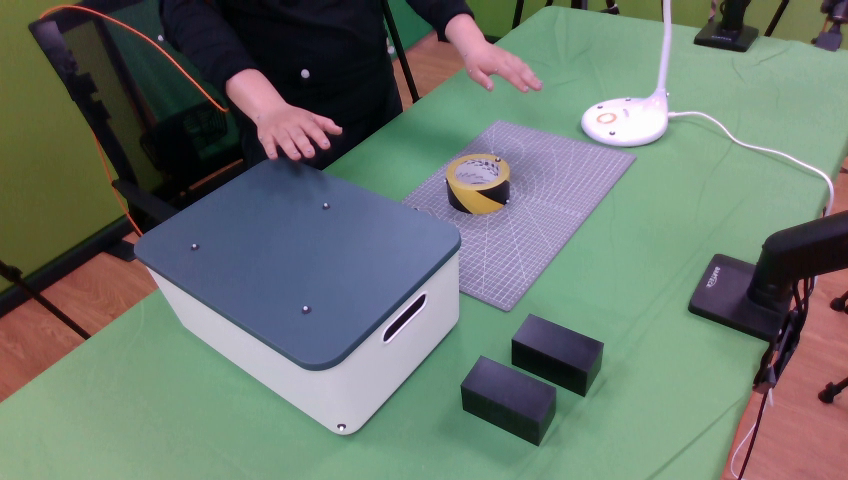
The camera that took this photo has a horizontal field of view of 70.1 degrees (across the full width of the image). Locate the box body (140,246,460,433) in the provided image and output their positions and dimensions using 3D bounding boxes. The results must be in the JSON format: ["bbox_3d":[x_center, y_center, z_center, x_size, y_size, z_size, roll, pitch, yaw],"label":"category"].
[{"bbox_3d":[-0.156,0.058,0.815,0.361,0.161,0.255,24,49,31],"label":"box body"}]

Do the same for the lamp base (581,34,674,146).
[{"bbox_3d":[0.392,-0.291,1.129,0.180,0.181,0.159,-11,41,-8],"label":"lamp base"}]

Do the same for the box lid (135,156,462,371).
[{"bbox_3d":[-0.162,0.004,0.765,0.368,0.015,0.264,23,49,31],"label":"box lid"}]

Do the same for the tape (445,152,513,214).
[{"bbox_3d":[0.095,-0.099,1.043,0.117,0.053,0.116,-4,41,4],"label":"tape"}]
